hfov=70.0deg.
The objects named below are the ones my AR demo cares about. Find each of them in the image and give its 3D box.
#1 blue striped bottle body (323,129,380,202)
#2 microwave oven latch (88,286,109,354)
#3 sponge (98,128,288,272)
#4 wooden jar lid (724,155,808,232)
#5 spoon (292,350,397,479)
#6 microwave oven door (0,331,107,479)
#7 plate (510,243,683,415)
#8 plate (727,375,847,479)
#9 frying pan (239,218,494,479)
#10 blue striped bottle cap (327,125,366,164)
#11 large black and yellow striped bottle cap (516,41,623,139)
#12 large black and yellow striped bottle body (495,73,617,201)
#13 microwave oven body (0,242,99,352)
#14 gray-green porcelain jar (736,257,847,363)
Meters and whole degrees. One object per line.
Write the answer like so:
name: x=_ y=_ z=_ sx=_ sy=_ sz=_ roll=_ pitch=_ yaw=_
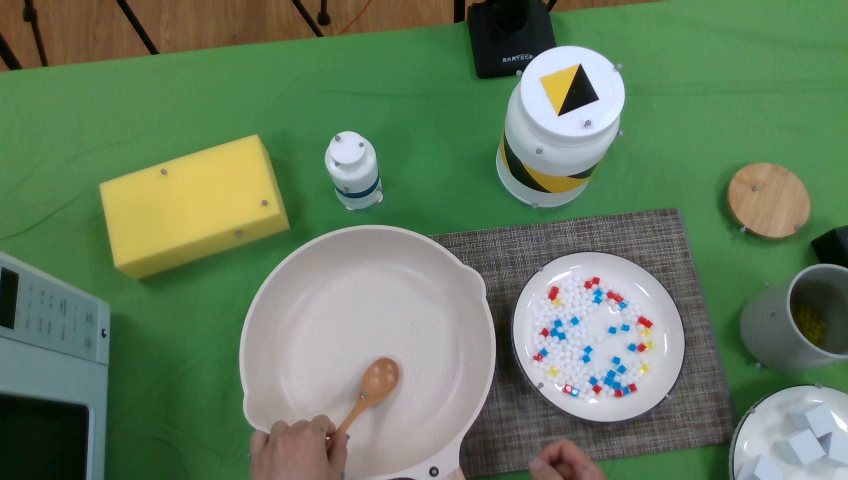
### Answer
blue striped bottle body: x=-0.091 y=-0.098 z=0.767 sx=0.063 sy=0.121 sz=0.062 roll=0 pitch=72 yaw=0
microwave oven latch: x=-0.398 y=0.097 z=0.728 sx=0.030 sy=0.029 sz=0.078 roll=-5 pitch=73 yaw=-2
sponge: x=-0.294 y=-0.051 z=0.783 sx=0.207 sy=0.061 sz=0.117 roll=-20 pitch=74 yaw=-7
wooden jar lid: x=0.454 y=-0.061 z=0.810 sx=0.108 sy=0.021 sz=0.108 roll=0 pitch=74 yaw=0
spoon: x=-0.090 y=0.199 z=0.683 sx=0.041 sy=0.022 sz=0.193 roll=34 pitch=48 yaw=7
microwave oven door: x=-0.378 y=0.273 z=0.566 sx=0.039 sy=0.245 sz=0.353 roll=-7 pitch=72 yaw=-2
plate: x=0.207 y=0.107 z=0.743 sx=0.209 sy=0.038 sz=0.208 roll=0 pitch=73 yaw=0
plate: x=0.452 y=0.262 z=0.699 sx=0.208 sy=0.039 sz=0.206 roll=0 pitch=72 yaw=0
frying pan: x=-0.013 y=0.199 z=0.679 sx=0.307 sy=0.103 sz=0.483 roll=-29 pitch=67 yaw=-8
blue striped bottle cap: x=-0.092 y=-0.114 z=0.717 sx=0.044 sy=0.021 sz=0.044 roll=-1 pitch=70 yaw=2
large black and yellow striped bottle cap: x=0.160 y=-0.167 z=0.666 sx=0.115 sy=0.019 sz=0.114 roll=0 pitch=71 yaw=1
large black and yellow striped bottle body: x=0.160 y=-0.140 z=0.748 sx=0.131 sy=0.185 sz=0.130 roll=0 pitch=72 yaw=0
microwave oven body: x=-0.526 y=0.250 z=0.578 sx=0.326 sy=0.261 sz=0.439 roll=-6 pitch=73 yaw=-2
gray-green porcelain jar: x=0.438 y=0.087 z=0.707 sx=0.106 sy=0.127 sz=0.105 roll=0 pitch=72 yaw=0
